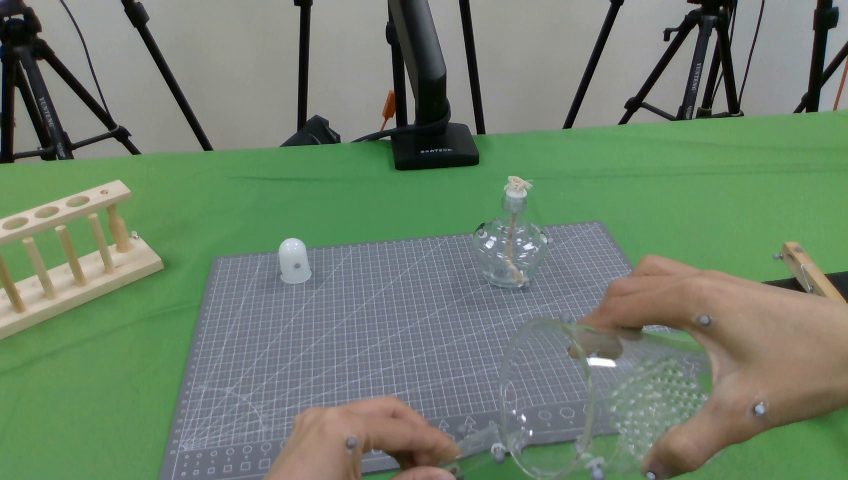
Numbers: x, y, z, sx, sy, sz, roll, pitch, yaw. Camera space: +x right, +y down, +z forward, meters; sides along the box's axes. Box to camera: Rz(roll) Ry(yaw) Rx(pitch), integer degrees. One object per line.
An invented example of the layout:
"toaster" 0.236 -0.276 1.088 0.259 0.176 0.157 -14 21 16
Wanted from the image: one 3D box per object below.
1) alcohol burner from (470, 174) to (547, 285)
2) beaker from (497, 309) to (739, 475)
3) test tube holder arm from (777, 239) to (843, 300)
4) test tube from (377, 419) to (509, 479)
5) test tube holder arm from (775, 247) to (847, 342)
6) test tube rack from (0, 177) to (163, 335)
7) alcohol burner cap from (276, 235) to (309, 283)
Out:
"alcohol burner" 0.086 -0.014 0.610 0.078 0.120 0.077 1 35 0
"beaker" 0.097 0.080 0.306 0.101 0.084 0.073 8 46 -23
"test tube holder arm" 0.344 0.027 0.542 0.015 0.010 0.087 1 36 1
"test tube" -0.018 0.138 0.334 0.150 0.017 0.017 -33 31 17
"test tube holder arm" 0.343 0.058 0.509 0.015 0.013 0.177 1 35 1
"test tube rack" -0.395 0.027 0.588 0.242 0.086 0.066 -28 44 -33
"alcohol burner cap" -0.139 0.017 0.631 0.034 0.048 0.033 -1 35 1
